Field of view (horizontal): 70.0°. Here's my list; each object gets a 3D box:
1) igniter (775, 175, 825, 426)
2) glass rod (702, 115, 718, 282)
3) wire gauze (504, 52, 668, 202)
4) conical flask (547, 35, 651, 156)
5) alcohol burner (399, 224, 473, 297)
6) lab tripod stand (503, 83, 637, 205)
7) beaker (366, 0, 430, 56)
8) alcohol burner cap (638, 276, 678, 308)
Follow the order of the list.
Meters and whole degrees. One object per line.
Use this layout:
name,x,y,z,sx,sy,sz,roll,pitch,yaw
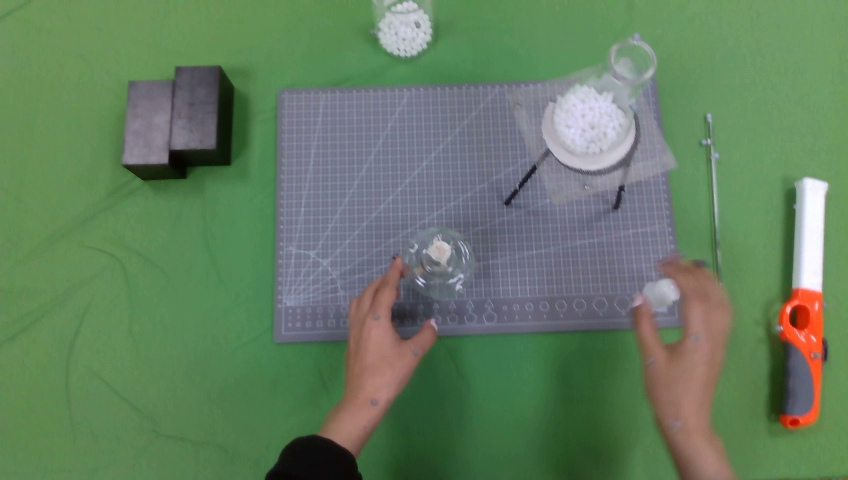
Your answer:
igniter,0.411,0.063,0.659,0.057,0.025,0.275,12,78,-8
glass rod,0.326,-0.050,0.692,0.008,0.008,0.198,2,77,0
wire gauze,0.153,-0.106,0.570,0.125,0.011,0.121,-18,81,-6
conical flask,0.152,-0.125,0.513,0.075,0.122,0.075,0,79,0
alcohol burner,0.013,0.018,0.620,0.078,0.119,0.077,0,78,-1
lab tripod stand,0.154,-0.090,0.634,0.148,0.132,0.147,0,79,0
beaker,-0.027,-0.265,0.692,0.084,0.100,0.074,-43,81,-9
alcohol burner cap,0.254,0.054,0.649,0.034,0.048,0.033,0,78,-1
